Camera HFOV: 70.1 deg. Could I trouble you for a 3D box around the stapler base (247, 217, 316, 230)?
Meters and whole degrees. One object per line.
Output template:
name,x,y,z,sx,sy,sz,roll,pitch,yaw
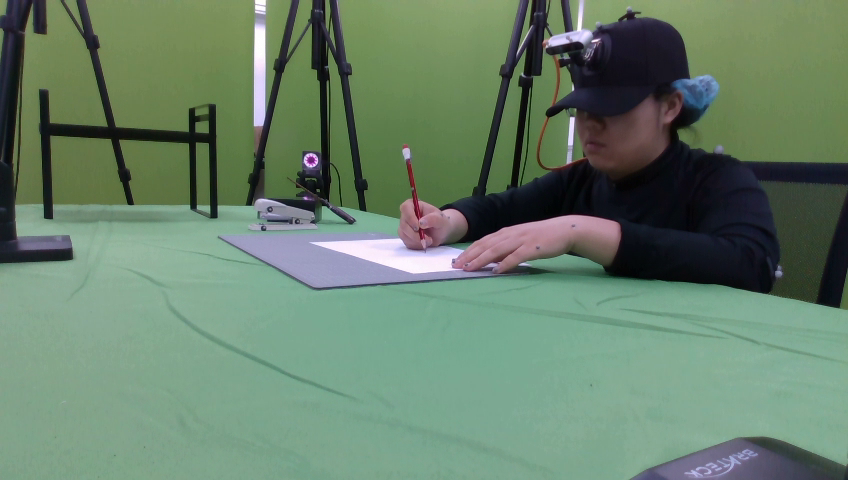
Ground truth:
stapler base,-0.276,-0.033,1.172,0.131,0.024,0.041,0,10,-37

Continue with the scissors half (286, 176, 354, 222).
scissors half,-0.229,-0.091,1.337,0.175,0.013,0.040,33,16,-13

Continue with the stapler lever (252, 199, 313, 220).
stapler lever,-0.273,-0.058,1.170,0.119,0.040,0.026,0,10,-37

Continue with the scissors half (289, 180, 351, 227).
scissors half,-0.232,-0.085,1.317,0.175,0.013,0.040,38,21,4

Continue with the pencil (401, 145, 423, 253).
pencil,-0.018,-0.068,0.949,0.012,0.193,0.012,-8,-24,-4
